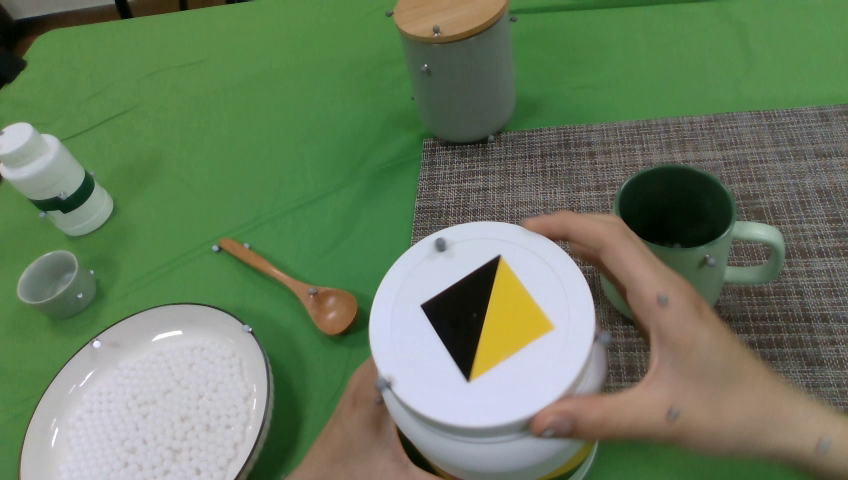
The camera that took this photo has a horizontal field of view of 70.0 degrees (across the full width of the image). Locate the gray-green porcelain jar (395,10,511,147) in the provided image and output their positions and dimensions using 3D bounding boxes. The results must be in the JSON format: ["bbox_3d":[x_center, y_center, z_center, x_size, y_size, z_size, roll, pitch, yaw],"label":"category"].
[{"bbox_3d":[0.033,-0.167,0.610,0.106,0.128,0.105,-6,49,8],"label":"gray-green porcelain jar"}]

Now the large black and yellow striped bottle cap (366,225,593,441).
[{"bbox_3d":[0.027,0.043,0.310,0.115,0.019,0.114,-5,57,9],"label":"large black and yellow striped bottle cap"}]

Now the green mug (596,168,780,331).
[{"bbox_3d":[0.196,0.010,0.454,0.125,0.106,0.092,5,55,16],"label":"green mug"}]

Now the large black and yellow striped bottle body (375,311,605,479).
[{"bbox_3d":[0.044,0.090,0.381,0.130,0.186,0.129,-6,57,9],"label":"large black and yellow striped bottle body"}]

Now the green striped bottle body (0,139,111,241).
[{"bbox_3d":[-0.388,-0.057,0.628,0.063,0.120,0.062,-6,53,9],"label":"green striped bottle body"}]

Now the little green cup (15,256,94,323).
[{"bbox_3d":[-0.360,0.051,0.595,0.061,0.039,0.061,-6,52,9],"label":"little green cup"}]

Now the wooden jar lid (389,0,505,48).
[{"bbox_3d":[0.022,-0.208,0.562,0.108,0.021,0.107,-8,51,11],"label":"wooden jar lid"}]

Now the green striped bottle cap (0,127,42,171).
[{"bbox_3d":[-0.398,-0.088,0.588,0.044,0.020,0.044,-4,55,7],"label":"green striped bottle cap"}]

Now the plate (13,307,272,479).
[{"bbox_3d":[-0.219,0.152,0.490,0.209,0.038,0.207,-6,53,8],"label":"plate"}]

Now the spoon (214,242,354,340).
[{"bbox_3d":[-0.136,0.038,0.564,0.192,0.022,0.041,27,80,28],"label":"spoon"}]
